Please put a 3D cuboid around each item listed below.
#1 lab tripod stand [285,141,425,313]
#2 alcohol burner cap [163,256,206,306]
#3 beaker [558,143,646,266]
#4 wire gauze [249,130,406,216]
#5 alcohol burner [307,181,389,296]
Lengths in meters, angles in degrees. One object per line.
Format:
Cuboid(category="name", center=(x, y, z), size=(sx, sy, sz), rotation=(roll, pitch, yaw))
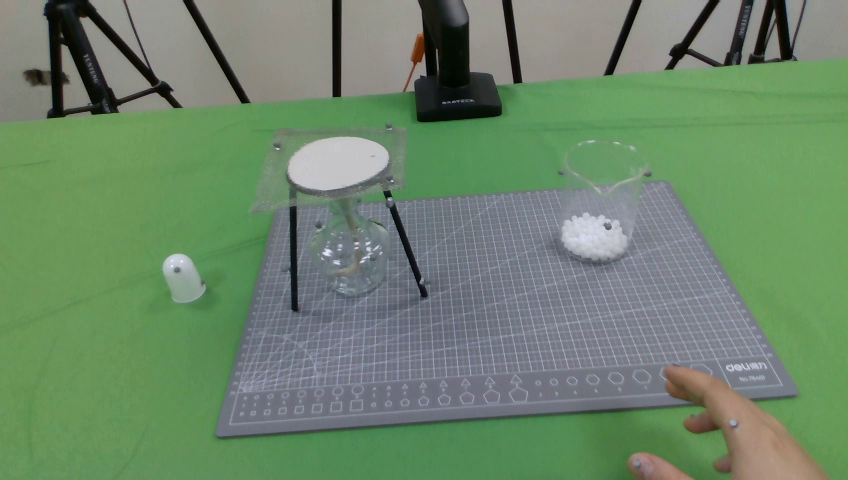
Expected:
Cuboid(category="lab tripod stand", center=(-0.071, -0.014, 0.554), size=(0.148, 0.133, 0.147), rotation=(-4, 38, 3))
Cuboid(category="alcohol burner cap", center=(-0.233, 0.036, 0.584), size=(0.034, 0.048, 0.033), rotation=(-1, 40, 1))
Cuboid(category="beaker", center=(0.167, -0.030, 0.581), size=(0.074, 0.101, 0.083), rotation=(5, 41, 12))
Cuboid(category="wire gauze", center=(-0.076, -0.063, 0.508), size=(0.121, 0.011, 0.124), rotation=(-4, 38, 1))
Cuboid(category="alcohol burner", center=(-0.071, -0.005, 0.560), size=(0.078, 0.120, 0.077), rotation=(-1, 40, 1))
